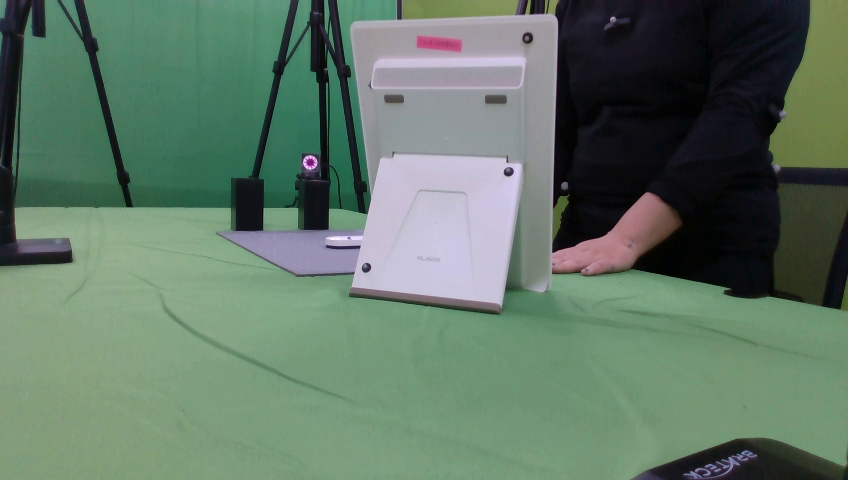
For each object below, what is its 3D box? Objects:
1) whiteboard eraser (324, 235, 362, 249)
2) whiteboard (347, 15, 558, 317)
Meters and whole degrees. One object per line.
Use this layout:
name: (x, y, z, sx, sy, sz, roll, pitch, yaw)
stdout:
whiteboard eraser: (-0.112, 0.002, 0.974, 0.102, 0.019, 0.041, -1, 7, -32)
whiteboard: (0.012, -0.056, 0.609, 0.216, 0.305, 0.144, 5, 27, 19)
